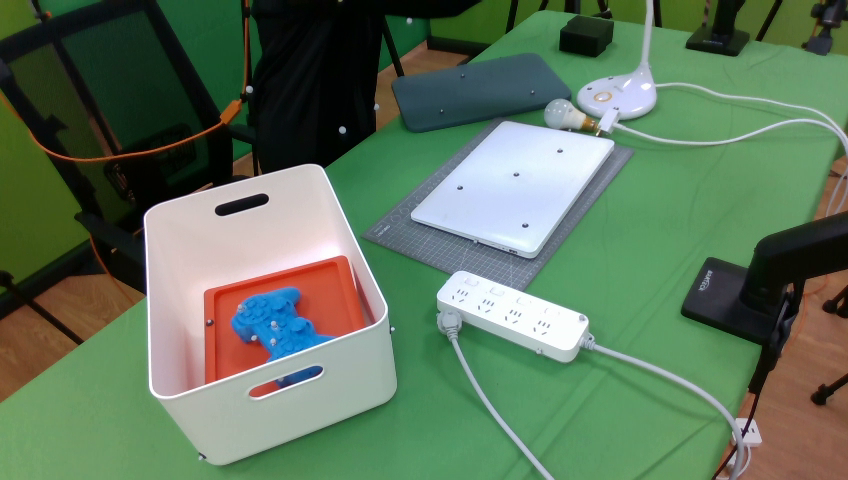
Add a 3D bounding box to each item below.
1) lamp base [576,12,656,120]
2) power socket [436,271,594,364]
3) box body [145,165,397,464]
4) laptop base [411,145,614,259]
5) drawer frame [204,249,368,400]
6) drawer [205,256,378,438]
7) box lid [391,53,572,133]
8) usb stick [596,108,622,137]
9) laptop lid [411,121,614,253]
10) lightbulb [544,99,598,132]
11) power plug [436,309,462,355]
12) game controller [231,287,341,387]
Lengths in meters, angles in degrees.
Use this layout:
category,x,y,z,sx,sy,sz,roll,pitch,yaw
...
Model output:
category,x,y,z,sx,sy,sz,roll,pitch,yaw
lamp base,0.403,-0.359,1.218,0.180,0.181,0.159,-24,43,-23
power socket,0.118,0.102,0.830,0.225,0.033,0.072,20,48,28
box body,-0.205,0.080,0.802,0.255,0.161,0.361,-18,41,-12
laptop base,0.167,-0.102,1.075,0.234,0.023,0.355,17,45,30
drawer frame,-0.174,0.129,0.790,0.202,0.083,0.212,-16,45,-8
drawer,-0.177,0.130,0.787,0.195,0.073,0.210,-14,39,-9
box lid,0.122,-0.339,1.366,0.372,0.015,0.261,-12,40,-5
usb stick,0.355,-0.223,1.168,0.027,0.059,0.022,37,14,34
laptop lid,0.164,-0.112,1.068,0.240,0.013,0.357,19,46,30
lightbulb,0.291,-0.241,1.198,0.107,0.059,0.059,22,46,8
power plug,0.032,0.126,0.810,0.035,0.053,0.072,3,59,7
game controller,-0.167,0.110,0.735,0.097,0.052,0.154,-34,47,-22
